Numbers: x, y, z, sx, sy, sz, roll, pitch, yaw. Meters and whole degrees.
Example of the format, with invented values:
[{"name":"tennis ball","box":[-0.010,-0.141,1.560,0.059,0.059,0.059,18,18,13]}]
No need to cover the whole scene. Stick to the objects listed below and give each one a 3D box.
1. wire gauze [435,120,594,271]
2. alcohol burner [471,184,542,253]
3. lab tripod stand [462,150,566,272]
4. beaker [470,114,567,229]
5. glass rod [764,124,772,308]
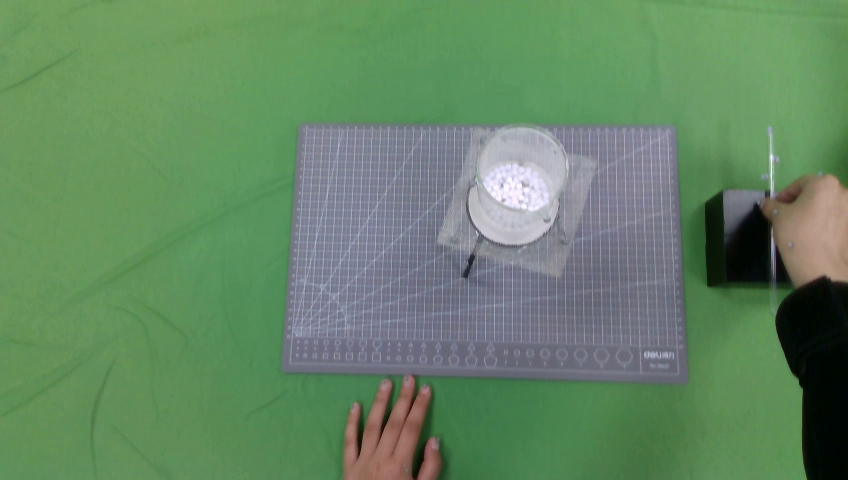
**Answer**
[{"name":"wire gauze","box":[0.086,-0.043,0.571,0.121,0.011,0.124,18,79,5]},{"name":"alcohol burner","box":[0.089,-0.027,0.645,0.078,0.119,0.077,-1,80,5]},{"name":"lab tripod stand","box":[0.085,-0.033,0.637,0.148,0.132,0.147,-1,79,5]},{"name":"beaker","box":[0.080,-0.051,0.524,0.074,0.100,0.083,-26,79,-2]},{"name":"glass rod","box":[0.364,-0.028,0.640,0.008,0.008,0.199,4,81,4]}]
